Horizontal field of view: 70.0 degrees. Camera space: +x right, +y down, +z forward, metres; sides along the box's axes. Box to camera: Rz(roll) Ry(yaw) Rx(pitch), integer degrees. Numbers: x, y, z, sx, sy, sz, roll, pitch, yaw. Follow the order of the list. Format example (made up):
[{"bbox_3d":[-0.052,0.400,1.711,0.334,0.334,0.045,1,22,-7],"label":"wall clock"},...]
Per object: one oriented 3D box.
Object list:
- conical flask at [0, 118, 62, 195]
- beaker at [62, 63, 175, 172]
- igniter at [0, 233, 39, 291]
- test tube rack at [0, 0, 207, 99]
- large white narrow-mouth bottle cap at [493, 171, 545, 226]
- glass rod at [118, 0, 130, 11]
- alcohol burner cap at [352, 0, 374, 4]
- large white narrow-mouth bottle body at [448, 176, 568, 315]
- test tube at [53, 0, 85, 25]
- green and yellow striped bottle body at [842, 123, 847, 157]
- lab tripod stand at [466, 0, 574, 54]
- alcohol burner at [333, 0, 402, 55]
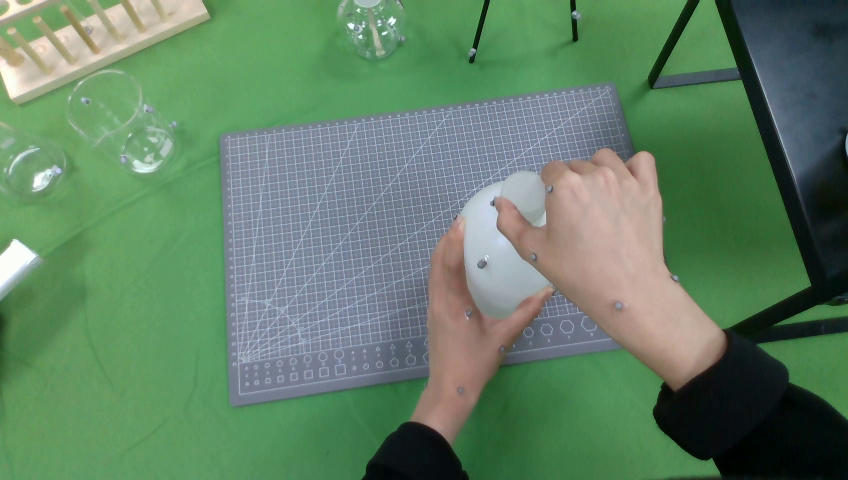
[{"bbox_3d":[-0.435,-0.101,0.611,0.075,0.122,0.075,0,70,1],"label":"conical flask"},{"bbox_3d":[-0.311,-0.119,0.629,0.074,0.101,0.083,7,71,4],"label":"beaker"},{"bbox_3d":[-0.465,0.106,0.542,0.057,0.025,0.276,35,72,10],"label":"igniter"},{"bbox_3d":[-0.384,-0.258,0.684,0.242,0.086,0.066,-28,73,-9],"label":"test tube rack"},{"bbox_3d":[0.069,-0.030,0.437,0.038,0.024,0.037,0,72,1],"label":"large white narrow-mouth bottle cap"},{"bbox_3d":[-0.367,-0.316,0.633,0.008,0.201,0.008,-3,65,7],"label":"glass rod"},{"bbox_3d":[-0.065,-0.276,0.633,0.034,0.048,0.033,0,70,0],"label":"alcohol burner cap"},{"bbox_3d":[0.072,0.000,0.531,0.102,0.196,0.101,0,72,1],"label":"large white narrow-mouth bottle body"},{"bbox_3d":[-0.407,-0.283,0.640,0.017,0.151,0.017,-2,68,5],"label":"test tube"},{"bbox_3d":[0.351,-0.092,0.410,0.063,0.120,0.063,0,71,1],"label":"green and yellow striped bottle body"},{"bbox_3d":[0.105,-0.284,0.662,0.148,0.132,0.147,0,70,0],"label":"lab tripod stand"},{"bbox_3d":[-0.064,-0.262,0.668,0.078,0.120,0.077,0,69,0],"label":"alcohol burner"}]
